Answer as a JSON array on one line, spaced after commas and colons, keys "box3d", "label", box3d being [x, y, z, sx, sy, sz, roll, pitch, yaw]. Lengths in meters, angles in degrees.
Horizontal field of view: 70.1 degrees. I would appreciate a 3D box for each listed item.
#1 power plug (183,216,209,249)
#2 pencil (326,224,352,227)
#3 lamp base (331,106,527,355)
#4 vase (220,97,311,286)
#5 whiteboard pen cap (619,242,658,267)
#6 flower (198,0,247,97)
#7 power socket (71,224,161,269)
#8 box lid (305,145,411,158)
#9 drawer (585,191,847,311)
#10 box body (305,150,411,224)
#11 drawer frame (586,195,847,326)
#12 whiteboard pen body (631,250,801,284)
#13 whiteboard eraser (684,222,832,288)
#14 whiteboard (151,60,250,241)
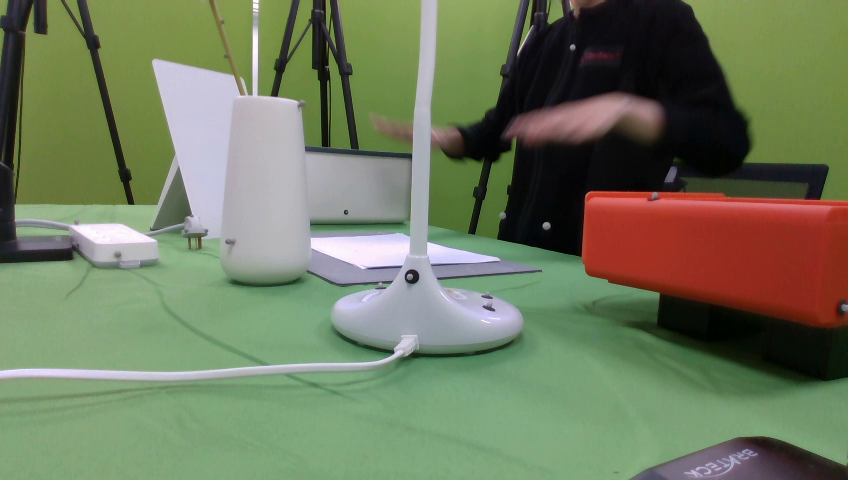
[{"box3d": [-0.335, -0.007, 0.891, 0.035, 0.052, 0.072, -4, -11, -17], "label": "power plug"}, {"box3d": [-0.248, -0.043, 1.340, 0.195, 0.012, 0.012, 9, 3, -30], "label": "pencil"}, {"box3d": [0.006, -0.012, 0.478, 0.161, 0.180, 0.179, 2, 10, 2], "label": "lamp base"}, {"box3d": [-0.172, -0.052, 0.662, 0.098, 0.200, 0.098, 3, 8, 0], "label": "vase"}, {"box3d": [0.199, 0.014, 0.556, 0.018, 0.018, 0.033, -4, 15, -38], "label": "whiteboard pen cap"}, {"box3d": [-0.187, -0.133, 0.648, 0.038, 0.362, 0.044, -1, 22, 43], "label": "flower"}, {"box3d": [-0.408, 0.004, 0.793, 0.072, 0.032, 0.225, -2, 8, -38], "label": "power socket"}, {"box3d": [-0.232, -0.200, 1.363, 0.373, 0.015, 0.262, 0, 8, -29], "label": "box lid"}, {"box3d": [0.280, 0.000, 0.513, 0.195, 0.073, 0.211, 0, 8, -28], "label": "drawer"}, {"box3d": [-0.233, -0.127, 1.374, 0.366, 0.160, 0.253, -2, 8, -29], "label": "box body"}, {"box3d": [0.284, 0.004, 0.508, 0.203, 0.082, 0.212, -1, 6, -28], "label": "drawer frame"}, {"box3d": [0.240, 0.020, 0.512, 0.017, 0.017, 0.140, -4, 8, -41], "label": "whiteboard pen body"}, {"box3d": [0.304, 0.012, 0.558, 0.056, 0.042, 0.112, -10, 20, -30], "label": "whiteboard eraser"}, {"box3d": [-0.408, -0.140, 1.094, 0.143, 0.305, 0.218, -15, 0, 25], "label": "whiteboard"}]
